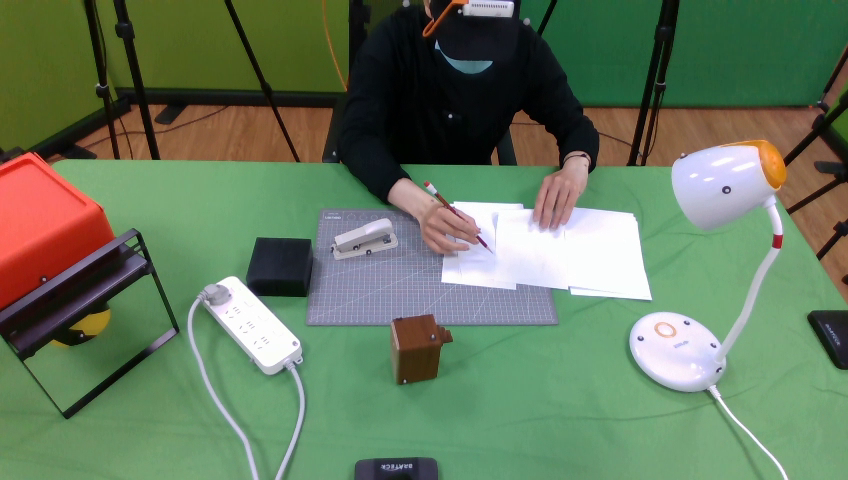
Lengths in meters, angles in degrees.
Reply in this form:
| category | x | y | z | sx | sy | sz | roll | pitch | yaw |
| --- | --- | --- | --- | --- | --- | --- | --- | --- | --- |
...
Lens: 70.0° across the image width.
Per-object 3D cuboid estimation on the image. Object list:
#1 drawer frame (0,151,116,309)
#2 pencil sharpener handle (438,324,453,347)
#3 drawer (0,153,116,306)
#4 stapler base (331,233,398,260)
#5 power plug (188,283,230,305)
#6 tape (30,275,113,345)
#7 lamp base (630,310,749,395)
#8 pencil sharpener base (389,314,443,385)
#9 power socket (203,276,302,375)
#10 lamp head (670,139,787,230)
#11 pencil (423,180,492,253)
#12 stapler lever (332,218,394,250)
| category | x | y | z | sx | sy | sz | roll | pitch | yaw |
| --- | --- | --- | --- | --- | --- | --- | --- | --- | --- |
| drawer frame | -0.604 | -0.013 | 0.876 | 0.201 | 0.083 | 0.213 | 31 | 52 | 23 |
| pencil sharpener handle | 0.036 | 0.155 | 0.976 | 0.031 | 0.068 | 0.036 | -8 | 70 | -11 |
| drawer | -0.601 | -0.015 | 0.880 | 0.193 | 0.073 | 0.211 | 32 | 53 | 23 |
| stapler base | -0.116 | 0.004 | 1.181 | 0.131 | 0.024 | 0.041 | -13 | 48 | -14 |
| power plug | -0.368 | 0.099 | 1.036 | 0.072 | 0.053 | 0.035 | -24 | 52 | -26 |
| tape | -0.593 | 0.117 | 1.021 | 0.117 | 0.053 | 0.116 | 2 | 45 | -2 |
| lamp base | 0.447 | 0.143 | 0.984 | 0.161 | 0.181 | 0.178 | -24 | 55 | -24 |
| pencil sharpener base | -0.013 | 0.175 | 0.971 | 0.077 | 0.107 | 0.061 | -8 | 47 | -11 |
| power socket | -0.297 | 0.141 | 1.034 | 0.072 | 0.033 | 0.225 | -34 | 58 | -30 |
| lamp head | 0.415 | -0.078 | 0.812 | 0.113 | 0.123 | 0.112 | 12 | 70 | -37 |
| pencil | 0.066 | -0.042 | 1.148 | 0.194 | 0.012 | 0.012 | 45 | 48 | -15 |
| stapler lever | -0.116 | -0.012 | 1.162 | 0.118 | 0.040 | 0.026 | -13 | 48 | -14 |
